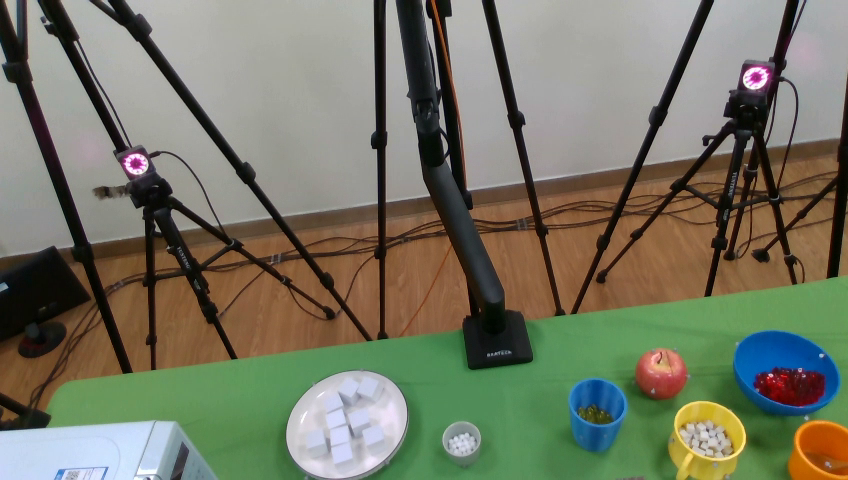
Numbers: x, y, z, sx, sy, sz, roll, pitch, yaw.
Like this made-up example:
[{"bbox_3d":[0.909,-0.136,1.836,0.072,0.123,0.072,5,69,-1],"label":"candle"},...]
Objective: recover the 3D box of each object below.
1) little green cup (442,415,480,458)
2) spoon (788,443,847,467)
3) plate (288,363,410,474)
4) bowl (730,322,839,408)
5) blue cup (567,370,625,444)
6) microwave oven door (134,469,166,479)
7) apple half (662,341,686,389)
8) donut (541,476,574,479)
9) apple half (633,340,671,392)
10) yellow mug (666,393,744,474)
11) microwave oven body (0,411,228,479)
[{"bbox_3d":[0.061,0.319,0.977,0.061,0.039,0.061,-5,42,5],"label":"little green cup"},{"bbox_3d":[0.588,0.297,0.819,0.041,0.193,0.021,-38,93,-28],"label":"spoon"},{"bbox_3d":[-0.125,0.303,1.029,0.207,0.039,0.205,-5,42,5],"label":"plate"},{"bbox_3d":[0.565,0.213,0.969,0.151,0.077,0.150,-5,43,6],"label":"bowl"},{"bbox_3d":[0.265,0.268,0.948,0.092,0.101,0.091,-4,44,5],"label":"blue cup"},{"bbox_3d":[-0.324,0.482,0.688,0.039,0.246,0.352,-6,42,5],"label":"microwave oven door"},{"bbox_3d":[0.415,0.208,1.004,0.033,0.082,0.080,-6,42,9],"label":"apple half"},{"bbox_3d":[0.193,0.388,0.867,0.099,0.049,0.098,-5,44,6],"label":"donut"},{"bbox_3d":[0.376,0.212,1.010,0.053,0.075,0.080,-6,45,9],"label":"apple half"},{"bbox_3d":[0.413,0.300,0.911,0.099,0.064,0.131,30,57,36],"label":"yellow mug"},{"bbox_3d":[-0.468,0.472,0.734,0.326,0.263,0.437,-5,43,4],"label":"microwave oven body"}]
